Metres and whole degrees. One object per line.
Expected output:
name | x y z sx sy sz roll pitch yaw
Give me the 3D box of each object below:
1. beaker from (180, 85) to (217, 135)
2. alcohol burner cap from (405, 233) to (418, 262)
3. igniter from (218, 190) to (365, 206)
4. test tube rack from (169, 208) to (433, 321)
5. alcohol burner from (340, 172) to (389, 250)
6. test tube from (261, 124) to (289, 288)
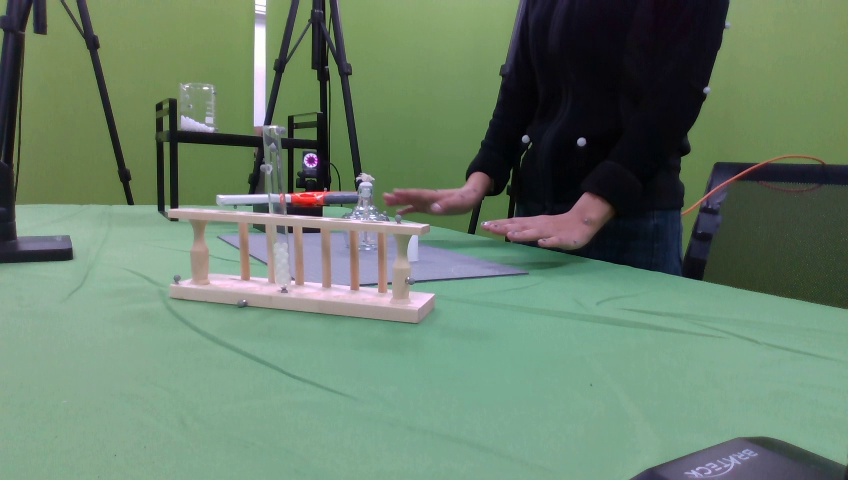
beaker | -0.478 -0.275 1.279 0.074 0.100 0.084 4 8 15
alcohol burner cap | -0.024 0.005 0.847 0.034 0.048 0.034 3 9 0
igniter | -0.247 -0.080 1.155 0.278 0.025 0.057 -4 12 -26
test tube rack | -0.115 0.018 0.574 0.242 0.085 0.067 4 8 13
alcohol burner | -0.093 -0.045 0.939 0.078 0.119 0.078 0 7 0
test tube | -0.136 -0.030 0.554 0.017 0.150 0.017 -2 10 1
